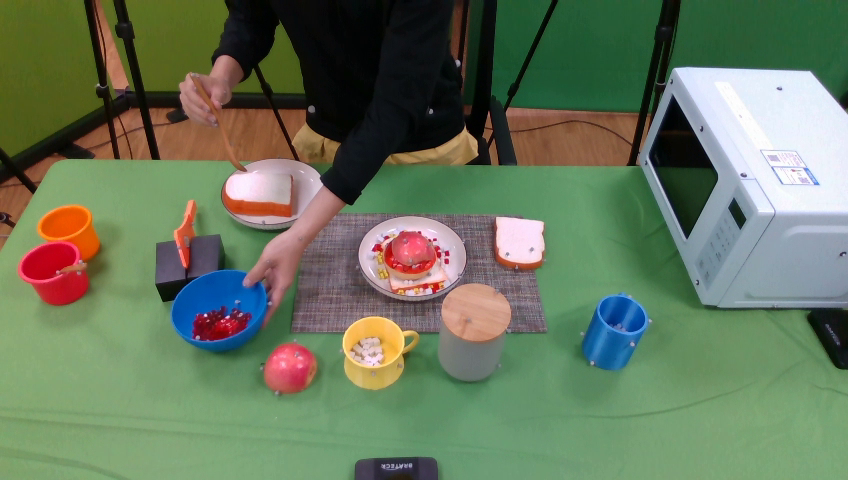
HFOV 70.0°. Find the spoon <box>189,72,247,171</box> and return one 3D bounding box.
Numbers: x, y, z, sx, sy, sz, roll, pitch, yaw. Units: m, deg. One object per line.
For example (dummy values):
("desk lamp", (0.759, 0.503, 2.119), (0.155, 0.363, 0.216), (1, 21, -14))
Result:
("spoon", (-0.349, -0.198, 1.032), (0.021, 0.195, 0.041), (-28, 37, -16))

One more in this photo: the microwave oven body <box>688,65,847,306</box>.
("microwave oven body", (0.669, -0.111, 1.176), (0.326, 0.261, 0.439), (0, 46, -3))

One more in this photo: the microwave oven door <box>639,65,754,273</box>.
("microwave oven door", (0.522, -0.147, 1.192), (0.039, 0.245, 0.353), (0, 47, -3))

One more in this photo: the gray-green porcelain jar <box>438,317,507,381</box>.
("gray-green porcelain jar", (0.076, 0.158, 0.977), (0.106, 0.127, 0.105), (2, 47, -2))

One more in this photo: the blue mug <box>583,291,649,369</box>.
("blue mug", (0.324, 0.142, 1.023), (0.082, 0.106, 0.116), (15, 47, 11))

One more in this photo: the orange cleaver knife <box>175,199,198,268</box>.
("orange cleaver knife", (-0.438, -0.017, 1.138), (0.012, 0.077, 0.210), (-14, 27, -7))

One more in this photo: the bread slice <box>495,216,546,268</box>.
("bread slice", (0.194, 0.002, 1.204), (0.105, 0.019, 0.131), (5, 46, 2))

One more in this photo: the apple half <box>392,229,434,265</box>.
("apple half", (-0.020, 0.005, 1.083), (0.081, 0.033, 0.081), (6, 49, -7))

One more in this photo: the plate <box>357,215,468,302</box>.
("plate", (-0.022, 0.037, 1.141), (0.208, 0.039, 0.206), (2, 46, -2))

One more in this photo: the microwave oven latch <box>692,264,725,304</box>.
("microwave oven latch", (0.522, 0.081, 1.116), (0.030, 0.029, 0.078), (2, 46, -1))

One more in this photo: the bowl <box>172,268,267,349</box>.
("bowl", (-0.329, 0.127, 1.008), (0.151, 0.077, 0.150), (-1, 46, 1))

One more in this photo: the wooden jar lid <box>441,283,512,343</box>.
("wooden jar lid", (0.080, 0.114, 0.931), (0.108, 0.021, 0.107), (1, 49, -1))

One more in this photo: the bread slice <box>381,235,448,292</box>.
("bread slice", (-0.028, 0.040, 1.141), (0.107, 0.018, 0.133), (-12, 50, -15))

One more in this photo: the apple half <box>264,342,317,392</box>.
("apple half", (-0.214, 0.198, 0.970), (0.074, 0.053, 0.080), (19, 48, 11))

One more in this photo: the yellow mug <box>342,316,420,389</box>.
("yellow mug", (-0.067, 0.178, 0.990), (0.131, 0.064, 0.099), (-16, 50, -19))

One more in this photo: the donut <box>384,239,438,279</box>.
("donut", (-0.025, 0.029, 1.110), (0.099, 0.048, 0.098), (3, 46, -3))

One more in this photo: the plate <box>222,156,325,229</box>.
("plate", (-0.307, -0.094, 1.251), (0.209, 0.038, 0.208), (2, 47, -2))

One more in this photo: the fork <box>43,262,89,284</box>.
("fork", (-0.599, 0.053, 1.014), (0.207, 0.019, 0.028), (-14, 30, 45))
